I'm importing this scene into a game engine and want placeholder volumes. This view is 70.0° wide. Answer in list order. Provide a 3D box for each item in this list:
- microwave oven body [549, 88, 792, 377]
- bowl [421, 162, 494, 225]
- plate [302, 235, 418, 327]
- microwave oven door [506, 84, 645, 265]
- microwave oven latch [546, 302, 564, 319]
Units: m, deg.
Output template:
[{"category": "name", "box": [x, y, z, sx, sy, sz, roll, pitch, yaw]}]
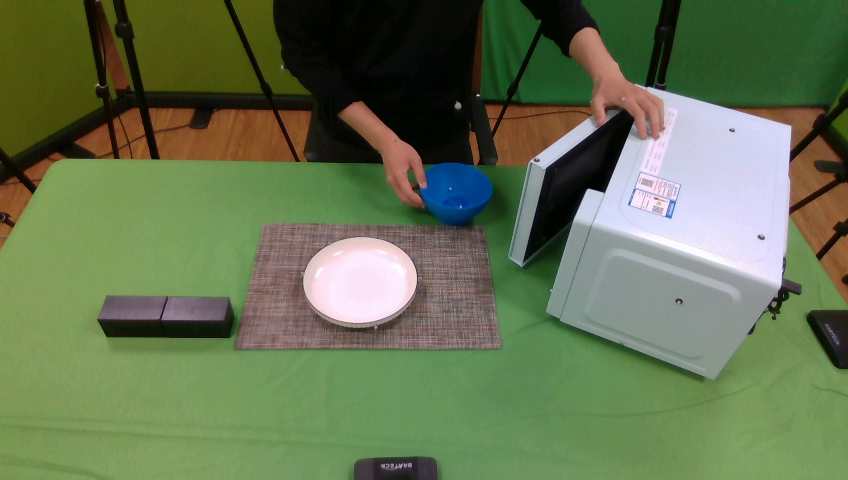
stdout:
[{"category": "microwave oven body", "box": [0.456, -0.028, 1.088, 0.325, 0.261, 0.440, 20, 47, 16]}, {"category": "bowl", "box": [0.062, -0.084, 1.246, 0.151, 0.077, 0.150, 6, 44, -6]}, {"category": "plate", "box": [-0.114, 0.077, 1.098, 0.208, 0.039, 0.206, 2, 46, -2]}, {"category": "microwave oven door", "box": [0.298, -0.130, 1.168, 0.039, 0.245, 0.355, 36, 54, 26]}, {"category": "microwave oven latch", "box": [0.242, 0.102, 1.081, 0.030, 0.029, 0.079, 21, 48, 17]}]
